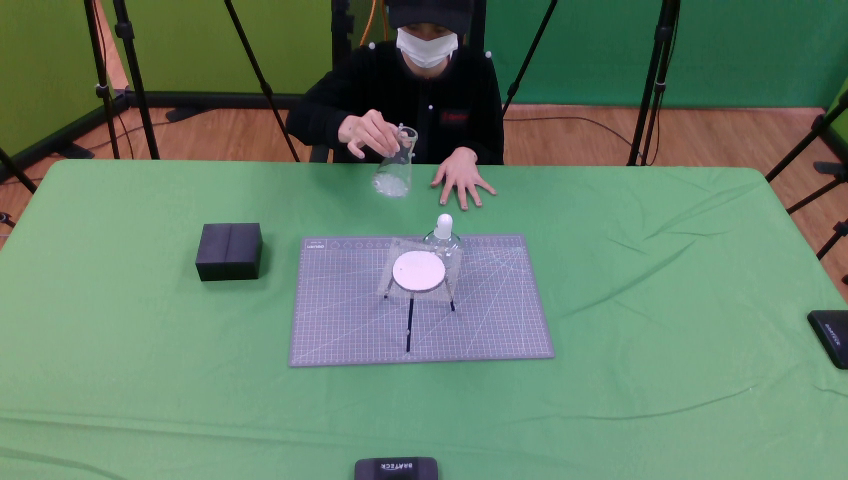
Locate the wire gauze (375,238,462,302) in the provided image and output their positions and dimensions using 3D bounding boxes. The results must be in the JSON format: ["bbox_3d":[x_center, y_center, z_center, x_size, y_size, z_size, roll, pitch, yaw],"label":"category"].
[{"bbox_3d":[-0.006,0.048,0.977,0.121,0.011,0.124,9,45,5],"label":"wire gauze"}]

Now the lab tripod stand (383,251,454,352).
[{"bbox_3d":[-0.015,0.094,1.025,0.148,0.132,0.147,1,46,-1],"label":"lab tripod stand"}]

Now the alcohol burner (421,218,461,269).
[{"bbox_3d":[0.033,-0.001,1.135,0.078,0.119,0.077,3,48,-3],"label":"alcohol burner"}]

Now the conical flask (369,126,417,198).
[{"bbox_3d":[-0.048,-0.140,1.071,0.075,0.122,0.075,15,39,-12],"label":"conical flask"}]

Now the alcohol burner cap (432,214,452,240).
[{"bbox_3d":[0.035,-0.027,1.110,0.034,0.048,0.033,7,42,-6],"label":"alcohol burner cap"}]
